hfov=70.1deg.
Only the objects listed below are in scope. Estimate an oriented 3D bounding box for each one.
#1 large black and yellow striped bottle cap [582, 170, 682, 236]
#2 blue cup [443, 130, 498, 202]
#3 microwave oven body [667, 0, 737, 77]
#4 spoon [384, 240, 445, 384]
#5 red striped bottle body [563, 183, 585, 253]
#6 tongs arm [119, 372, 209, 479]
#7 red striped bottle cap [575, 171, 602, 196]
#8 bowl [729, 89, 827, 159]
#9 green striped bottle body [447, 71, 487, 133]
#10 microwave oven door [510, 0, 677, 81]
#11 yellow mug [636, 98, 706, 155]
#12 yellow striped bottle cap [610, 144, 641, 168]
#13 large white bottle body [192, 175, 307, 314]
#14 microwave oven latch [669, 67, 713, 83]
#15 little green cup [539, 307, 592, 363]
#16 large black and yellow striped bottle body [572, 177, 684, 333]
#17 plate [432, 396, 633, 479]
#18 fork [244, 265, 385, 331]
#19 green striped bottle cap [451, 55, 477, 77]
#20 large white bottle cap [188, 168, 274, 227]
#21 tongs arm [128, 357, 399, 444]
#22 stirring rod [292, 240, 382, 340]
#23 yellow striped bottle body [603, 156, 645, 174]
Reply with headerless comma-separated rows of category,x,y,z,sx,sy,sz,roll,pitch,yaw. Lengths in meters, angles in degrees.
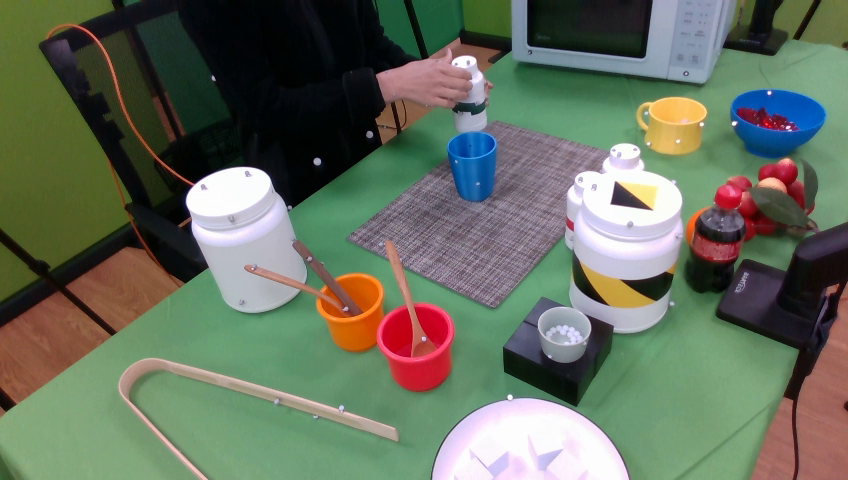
large black and yellow striped bottle cap,0.252,-0.048,0.735,0.115,0.019,0.114,-3,40,3
blue cup,0.086,-0.123,1.040,0.092,0.100,0.092,-5,42,5
microwave oven body,0.462,-0.552,1.369,0.439,0.261,0.326,15,45,26
spoon,-0.016,0.090,0.776,0.042,0.021,0.193,-17,85,-10
red striped bottle body,0.246,-0.041,0.910,0.063,0.120,0.062,-2,38,2
tongs arm,-0.258,0.257,0.700,0.384,0.028,0.028,24,55,34
red striped bottle cap,0.242,-0.081,0.876,0.044,0.018,0.044,-5,43,5
bowl,0.615,-0.197,1.069,0.151,0.077,0.150,-5,40,5
green striped bottle body,0.077,-0.254,1.077,0.063,0.120,0.063,-6,40,6
microwave oven door,0.354,-0.478,1.290,0.353,0.245,0.039,15,45,25
yellow mug,0.453,-0.217,1.129,0.100,0.064,0.129,-34,46,-27
yellow striped bottle cap,0.307,-0.128,0.923,0.044,0.019,0.044,-5,40,5
large white bottle body,-0.256,0.003,0.885,0.130,0.185,0.130,-4,40,4
microwave oven latch,0.556,-0.349,1.261,0.078,0.029,0.030,16,46,27
little green cup,0.168,0.115,0.721,0.061,0.039,0.061,-4,42,4
large black and yellow striped bottle body,0.262,0.017,0.788,0.131,0.185,0.130,-5,40,4
plate,0.112,0.261,0.634,0.209,0.038,0.208,-5,40,4
fork,-0.142,0.078,0.806,0.209,0.018,0.028,30,32,-24
green striped bottle cap,0.068,-0.299,1.041,0.044,0.020,0.044,-6,47,7
large white bottle cap,-0.264,-0.061,0.831,0.115,0.018,0.114,-4,40,4
tongs arm,-0.213,0.205,0.755,0.382,0.026,0.051,12,46,23
stirring rod,-0.119,0.068,0.826,0.176,0.006,0.014,49,59,-4
yellow striped bottle body,0.313,-0.089,0.955,0.063,0.121,0.062,-5,39,4
